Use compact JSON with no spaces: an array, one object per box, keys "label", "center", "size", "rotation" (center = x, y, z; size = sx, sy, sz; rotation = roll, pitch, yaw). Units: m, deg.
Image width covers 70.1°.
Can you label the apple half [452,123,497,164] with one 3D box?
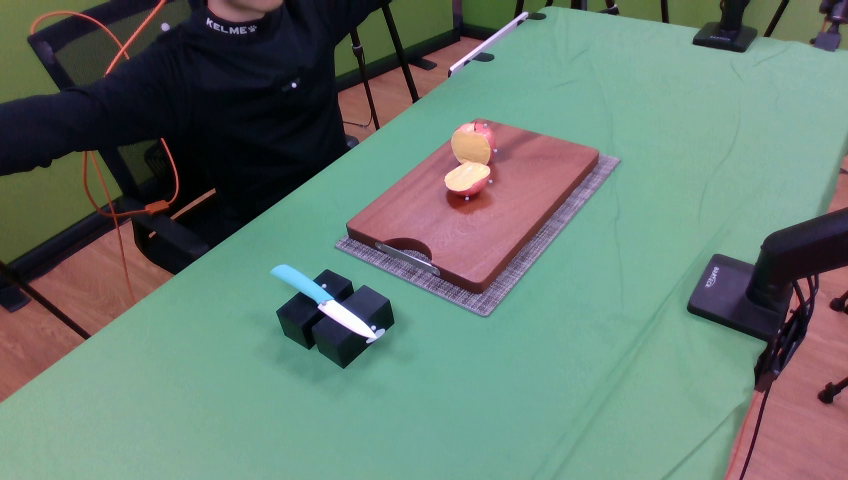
[{"label":"apple half","center":[0.095,-0.173,1.073],"size":[0.080,0.075,0.053],"rotation":[13,40,28]}]

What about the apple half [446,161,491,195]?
[{"label":"apple half","center":[0.076,-0.099,1.020],"size":[0.081,0.033,0.081],"rotation":[-16,36,12]}]

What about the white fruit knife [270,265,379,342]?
[{"label":"white fruit knife","center":[-0.136,0.084,0.823],"size":[0.206,0.016,0.027],"rotation":[30,64,30]}]
